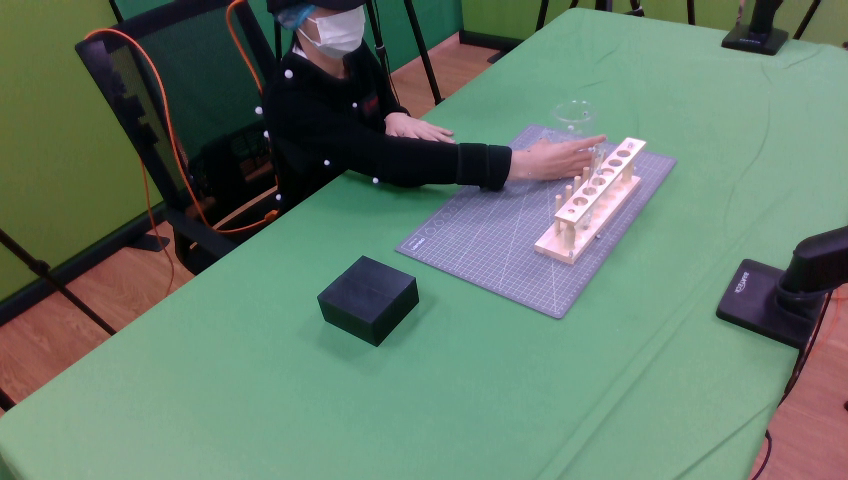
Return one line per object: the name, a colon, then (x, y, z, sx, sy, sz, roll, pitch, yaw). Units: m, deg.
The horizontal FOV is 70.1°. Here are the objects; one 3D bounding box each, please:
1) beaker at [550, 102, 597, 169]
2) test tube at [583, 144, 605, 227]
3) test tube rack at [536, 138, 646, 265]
beaker: (0.267, -0.187, 1.093, 0.083, 0.101, 0.074, 15, 44, 26)
test tube: (0.251, -0.077, 0.896, 0.017, 0.151, 0.017, -3, 43, 3)
test tube rack: (0.268, -0.071, 0.964, 0.066, 0.085, 0.243, 23, 49, 32)
